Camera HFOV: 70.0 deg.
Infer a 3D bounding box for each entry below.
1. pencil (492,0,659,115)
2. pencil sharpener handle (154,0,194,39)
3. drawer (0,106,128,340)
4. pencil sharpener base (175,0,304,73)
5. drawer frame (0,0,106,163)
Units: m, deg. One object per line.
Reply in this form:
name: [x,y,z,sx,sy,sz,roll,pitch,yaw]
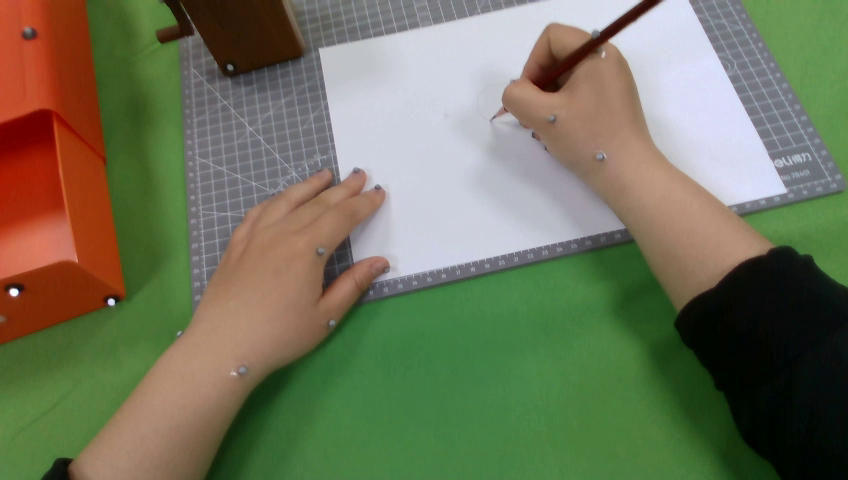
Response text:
pencil: [0.100,-0.120,0.371,0.012,0.194,0.012,10,69,-29]
pencil sharpener handle: [-0.193,-0.175,0.440,0.030,0.068,0.035,-18,63,-2]
drawer: [-0.328,-0.028,0.420,0.194,0.074,0.210,-21,66,-3]
pencil sharpener base: [-0.144,-0.187,0.454,0.077,0.108,0.061,-18,66,-2]
drawer frame: [-0.368,-0.128,0.465,0.202,0.083,0.211,-20,65,-3]
